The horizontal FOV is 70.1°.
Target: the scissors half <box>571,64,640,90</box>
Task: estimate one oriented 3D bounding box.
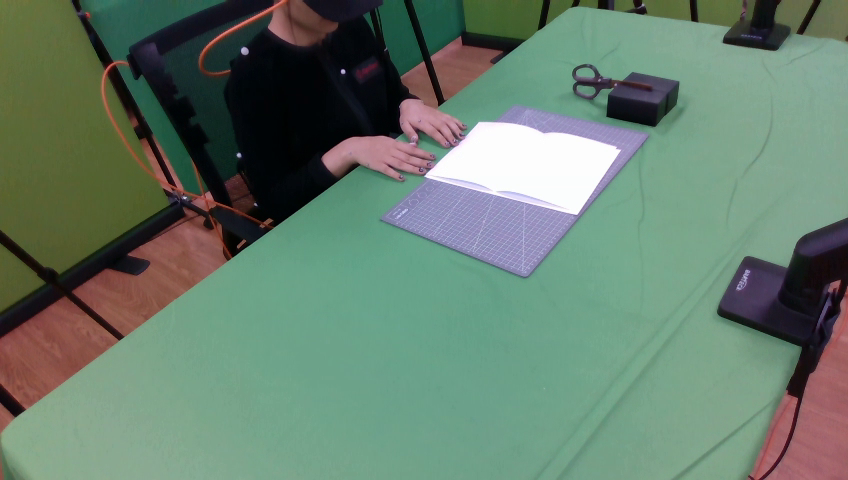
[{"bbox_3d":[0.378,-0.327,1.229,0.174,0.040,0.013,25,48,33],"label":"scissors half"}]

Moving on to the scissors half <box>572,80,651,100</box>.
[{"bbox_3d":[0.381,-0.309,1.239,0.174,0.040,0.013,9,32,45],"label":"scissors half"}]
